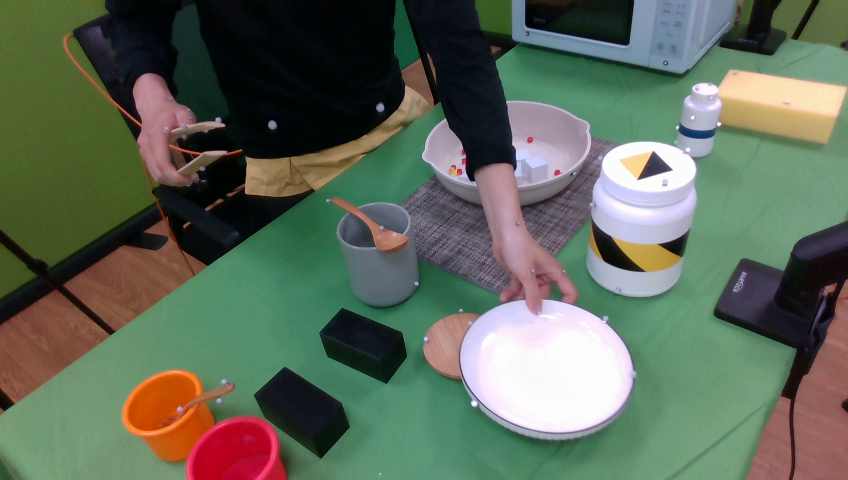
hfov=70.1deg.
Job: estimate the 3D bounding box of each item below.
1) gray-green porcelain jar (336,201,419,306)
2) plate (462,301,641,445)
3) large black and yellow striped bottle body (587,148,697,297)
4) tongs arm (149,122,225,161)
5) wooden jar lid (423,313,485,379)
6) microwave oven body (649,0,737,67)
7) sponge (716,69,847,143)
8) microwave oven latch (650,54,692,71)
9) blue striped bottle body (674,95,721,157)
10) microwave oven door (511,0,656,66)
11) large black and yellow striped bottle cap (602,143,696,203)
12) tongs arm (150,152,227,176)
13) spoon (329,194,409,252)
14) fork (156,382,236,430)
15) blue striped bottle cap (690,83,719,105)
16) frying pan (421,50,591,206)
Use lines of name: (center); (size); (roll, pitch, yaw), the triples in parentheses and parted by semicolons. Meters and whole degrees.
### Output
gray-green porcelain jar: (-0.063, 0.024, 0.872); (0.106, 0.127, 0.105); (-4, 41, 4)
plate: (0.149, 0.158, 0.725); (0.208, 0.039, 0.206); (-1, 38, 1)
large black and yellow striped bottle body: (0.298, -0.026, 0.835); (0.131, 0.185, 0.130); (-4, 41, 4)
tongs arm: (-0.326, -0.126, 0.808); (0.027, 0.051, 0.381); (-9, 12, -31)
wooden jar lid: (0.053, 0.142, 0.800); (0.108, 0.021, 0.108); (-5, 39, 4)
microwave oven body: (0.475, -0.602, 1.411); (0.438, 0.261, 0.327); (23, 50, 32)
sponge: (0.663, -0.256, 1.142); (0.205, 0.061, 0.118); (19, 47, 28)
microwave oven latch: (0.531, -0.386, 1.301); (0.078, 0.029, 0.030); (25, 51, 33)
blue striped bottle body: (0.486, -0.213, 1.071); (0.063, 0.121, 0.063); (-4, 41, 4)
microwave oven door: (0.351, -0.539, 1.348); (0.353, 0.245, 0.039); (24, 50, 31)
large black and yellow striped bottle cap: (0.289, -0.088, 0.779); (0.115, 0.019, 0.114); (-5, 39, 4)
tongs arm: (-0.325, -0.104, 0.811); (0.028, 0.028, 0.384); (-13, 9, -31)
spoon: (-0.082, -0.029, 0.828); (0.042, 0.022, 0.192); (-34, 44, -19)
fork: (-0.262, 0.189, 0.690); (0.018, 0.206, 0.028); (49, 43, -7)
blue striped bottle cap: (0.481, -0.251, 1.038); (0.044, 0.021, 0.044); (-5, 39, 5)
frying pan: (0.127, -0.233, 1.155); (0.307, 0.103, 0.484); (-11, 49, -5)
